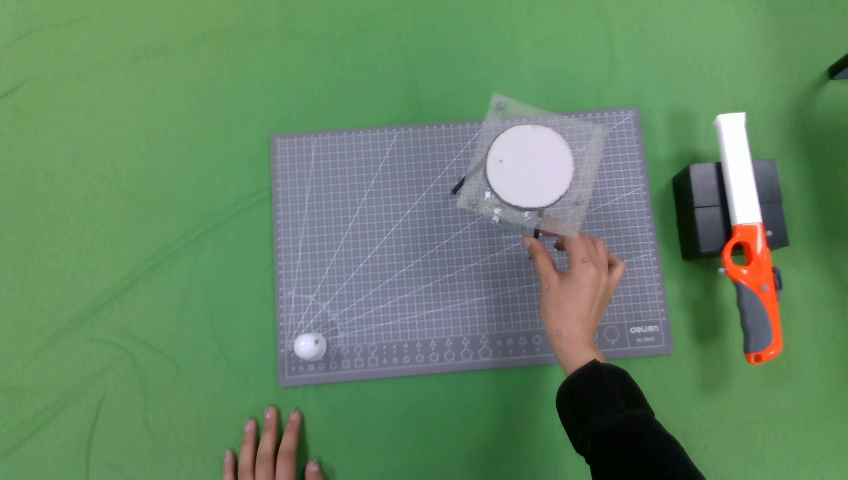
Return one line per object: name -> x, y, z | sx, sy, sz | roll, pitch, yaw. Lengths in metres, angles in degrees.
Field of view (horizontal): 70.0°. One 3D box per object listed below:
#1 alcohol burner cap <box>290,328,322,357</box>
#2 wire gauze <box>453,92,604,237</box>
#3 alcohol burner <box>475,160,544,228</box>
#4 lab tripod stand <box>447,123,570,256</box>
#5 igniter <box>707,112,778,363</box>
alcohol burner cap -> -0.132, 0.113, 0.670 | 0.034, 0.048, 0.033 | 0, 79, -1
wire gauze -> 0.104, -0.075, 0.592 | 0.121, 0.011, 0.124 | 18, 79, 2
alcohol burner -> 0.096, -0.054, 0.667 | 0.078, 0.119, 0.077 | 0, 81, 0
lab tripod stand -> 0.101, -0.065, 0.659 | 0.148, 0.132, 0.147 | 0, 77, 0
igniter -> 0.346, -0.007, 0.661 | 0.057, 0.025, 0.275 | -4, 79, 5
